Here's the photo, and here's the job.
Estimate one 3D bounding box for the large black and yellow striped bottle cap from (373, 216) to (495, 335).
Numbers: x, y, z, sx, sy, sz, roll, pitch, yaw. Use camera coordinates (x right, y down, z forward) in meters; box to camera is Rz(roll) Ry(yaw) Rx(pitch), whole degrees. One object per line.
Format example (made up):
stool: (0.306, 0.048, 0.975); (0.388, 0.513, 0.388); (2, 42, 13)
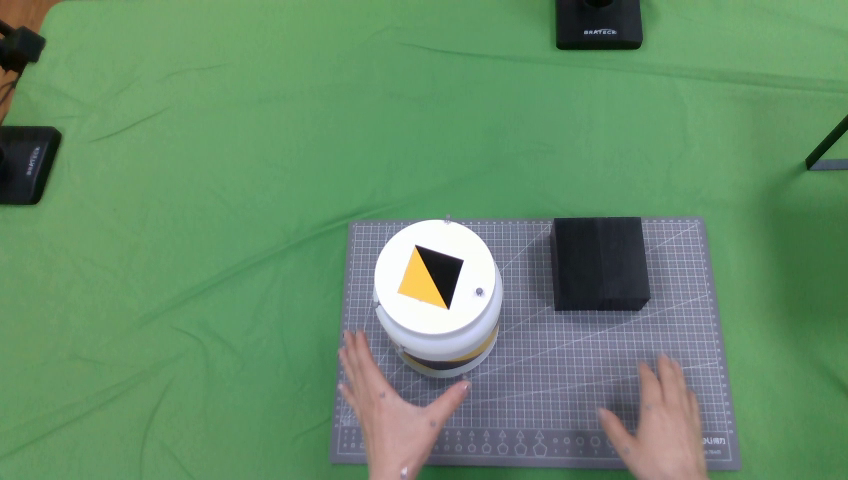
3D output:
large black and yellow striped bottle cap: (0.010, 0.032, 0.569); (0.115, 0.019, 0.114); (-2, 68, 5)

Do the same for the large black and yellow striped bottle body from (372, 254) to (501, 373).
large black and yellow striped bottle body: (0.016, 0.063, 0.647); (0.131, 0.185, 0.130); (-1, 68, 4)
